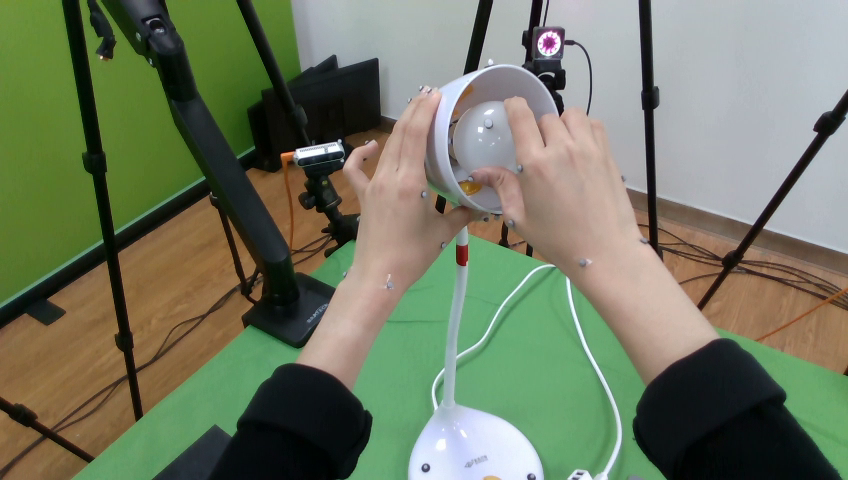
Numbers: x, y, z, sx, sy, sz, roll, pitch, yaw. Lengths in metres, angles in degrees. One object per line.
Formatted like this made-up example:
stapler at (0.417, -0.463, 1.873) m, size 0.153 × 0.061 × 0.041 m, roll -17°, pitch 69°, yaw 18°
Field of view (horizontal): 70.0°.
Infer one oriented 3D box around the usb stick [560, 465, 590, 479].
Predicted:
usb stick at (0.179, 0.286, 0.683) m, size 0.027 × 0.059 × 0.021 m, roll -29°, pitch 4°, yaw -35°

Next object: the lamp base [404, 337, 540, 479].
lamp base at (0.047, 0.206, 0.678) m, size 0.161 × 0.182 × 0.177 m, roll -25°, pitch 42°, yaw -26°

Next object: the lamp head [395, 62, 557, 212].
lamp head at (0.031, -0.079, 0.502) m, size 0.112 × 0.113 × 0.122 m, roll -26°, pitch 15°, yaw -27°

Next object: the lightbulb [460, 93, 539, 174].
lightbulb at (0.057, -0.091, 0.476) m, size 0.059 × 0.060 × 0.106 m, roll -1°, pitch 30°, yaw 1°
